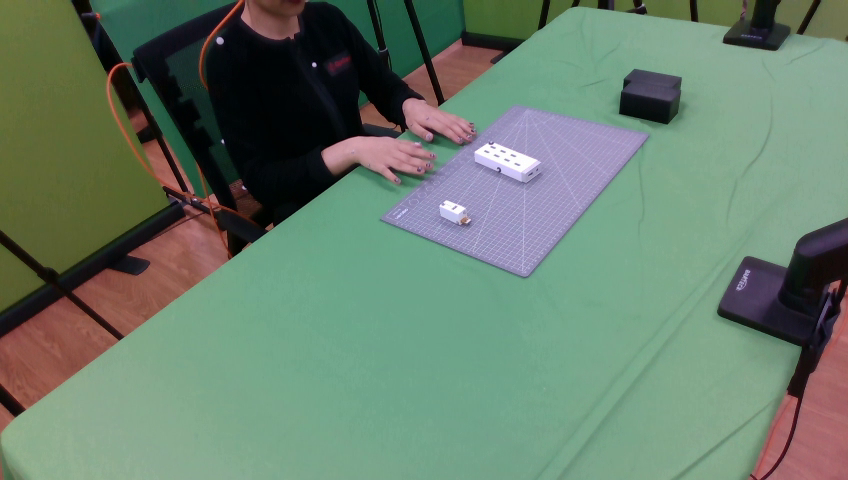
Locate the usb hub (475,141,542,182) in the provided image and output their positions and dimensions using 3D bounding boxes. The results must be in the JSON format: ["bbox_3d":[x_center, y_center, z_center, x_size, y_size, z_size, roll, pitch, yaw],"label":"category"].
[{"bbox_3d":[0.155,-0.146,1.118,0.050,0.025,0.124,-35,47,-28],"label":"usb hub"}]

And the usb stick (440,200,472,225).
[{"bbox_3d":[0.055,-0.044,1.016,0.058,0.027,0.021,29,52,33],"label":"usb stick"}]
